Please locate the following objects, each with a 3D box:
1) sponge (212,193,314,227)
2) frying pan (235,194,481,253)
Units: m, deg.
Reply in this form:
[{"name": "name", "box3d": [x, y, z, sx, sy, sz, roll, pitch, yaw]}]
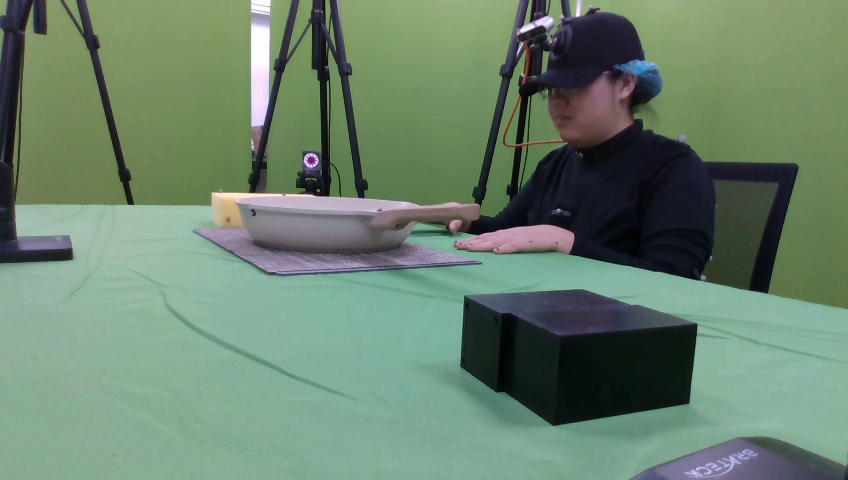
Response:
[{"name": "sponge", "box3d": [-0.317, -0.063, 1.233, 0.208, 0.061, 0.117, -2, 8, -27]}, {"name": "frying pan", "box3d": [-0.089, -0.034, 0.891, 0.308, 0.102, 0.485, -4, 2, -36]}]
